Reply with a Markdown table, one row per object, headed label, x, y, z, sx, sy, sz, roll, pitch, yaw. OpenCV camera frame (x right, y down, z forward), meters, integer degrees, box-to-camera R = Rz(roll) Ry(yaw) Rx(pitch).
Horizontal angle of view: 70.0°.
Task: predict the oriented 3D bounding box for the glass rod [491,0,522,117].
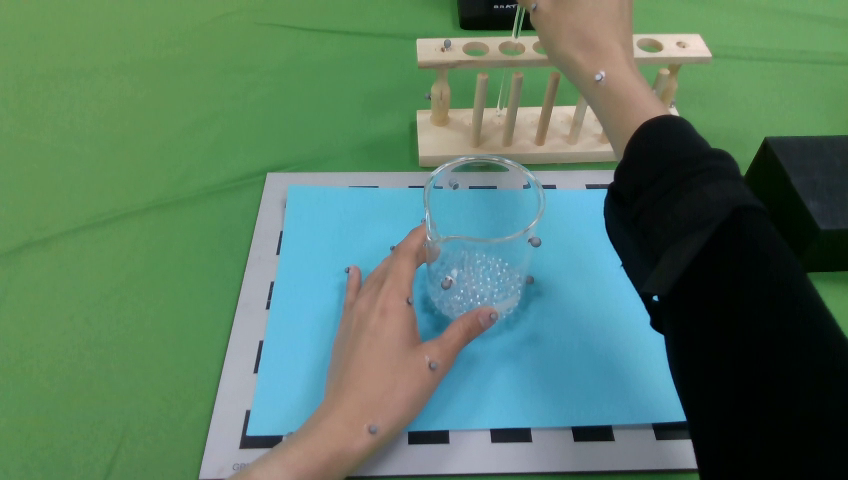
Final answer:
| label | x | y | z | sx | sy | sz | roll | pitch | yaw |
| --- | --- | --- | --- | --- | --- | --- | --- | --- | --- |
| glass rod | 0.071 | -0.177 | 0.475 | 0.008 | 0.201 | 0.008 | 3 | 50 | -3 |

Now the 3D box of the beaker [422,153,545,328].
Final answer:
| label | x | y | z | sx | sy | sz | roll | pitch | yaw |
| --- | --- | --- | --- | --- | --- | --- | --- | --- | --- |
| beaker | 0.033 | 0.006 | 0.400 | 0.084 | 0.101 | 0.073 | -37 | 58 | -27 |

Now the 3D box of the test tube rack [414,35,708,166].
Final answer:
| label | x | y | z | sx | sy | sz | roll | pitch | yaw |
| --- | --- | --- | --- | --- | --- | --- | --- | --- | --- |
| test tube rack | 0.113 | -0.120 | 0.525 | 0.242 | 0.086 | 0.066 | -2 | 49 | -3 |
